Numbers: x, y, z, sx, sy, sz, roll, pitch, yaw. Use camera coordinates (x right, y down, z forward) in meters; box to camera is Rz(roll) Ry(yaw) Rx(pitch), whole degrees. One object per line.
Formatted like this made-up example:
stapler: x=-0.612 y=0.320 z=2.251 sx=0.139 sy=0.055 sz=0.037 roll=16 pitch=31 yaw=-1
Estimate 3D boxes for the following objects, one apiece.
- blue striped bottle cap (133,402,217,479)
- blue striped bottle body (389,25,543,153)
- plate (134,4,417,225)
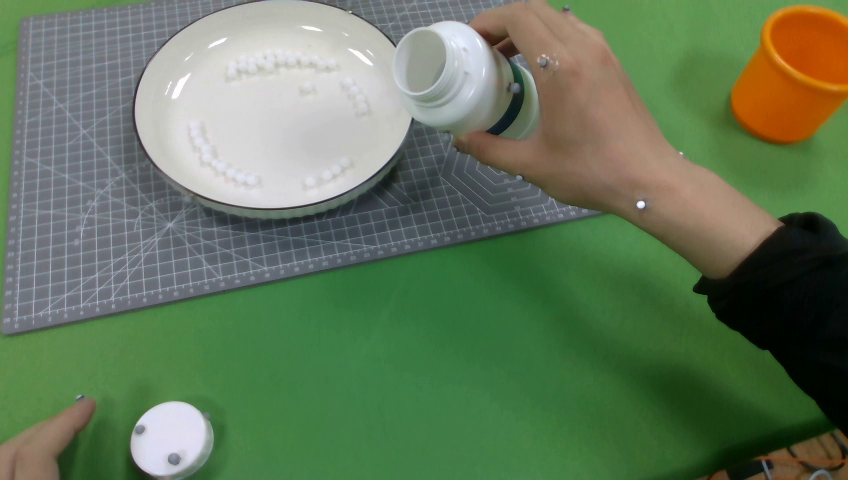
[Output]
blue striped bottle cap: x=-0.148 y=0.120 z=0.361 sx=0.044 sy=0.021 sz=0.044 roll=1 pitch=64 yaw=-1
blue striped bottle body: x=0.027 y=-0.096 z=0.391 sx=0.063 sy=0.121 sz=0.063 roll=-1 pitch=87 yaw=32
plate: x=-0.108 y=-0.097 z=0.467 sx=0.208 sy=0.039 sz=0.206 roll=2 pitch=61 yaw=-3
